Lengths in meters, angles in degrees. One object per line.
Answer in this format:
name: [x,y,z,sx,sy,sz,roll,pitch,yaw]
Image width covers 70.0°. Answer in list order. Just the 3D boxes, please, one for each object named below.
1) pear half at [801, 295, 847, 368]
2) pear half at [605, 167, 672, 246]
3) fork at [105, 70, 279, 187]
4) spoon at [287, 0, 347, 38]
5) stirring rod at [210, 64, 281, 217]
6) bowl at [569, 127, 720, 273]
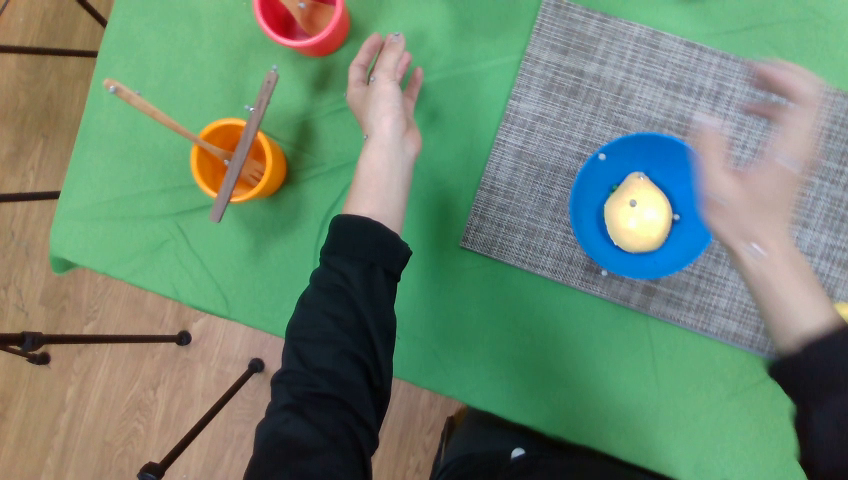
pear half: [0.437,0.097,0.633,0.056,0.110,0.076,1,89,6]
pear half: [0.233,-0.037,0.650,0.070,0.031,0.088,-1,88,0]
fork: [-0.245,-0.117,0.659,0.028,0.018,0.209,-44,133,12]
spoon: [-0.165,-0.276,0.647,0.195,0.021,0.041,22,98,-40]
stirring rod: [-0.193,-0.107,0.653,0.014,0.006,0.176,24,95,1]
bowl: [0.229,-0.042,0.657,0.151,0.077,0.151,0,93,5]
